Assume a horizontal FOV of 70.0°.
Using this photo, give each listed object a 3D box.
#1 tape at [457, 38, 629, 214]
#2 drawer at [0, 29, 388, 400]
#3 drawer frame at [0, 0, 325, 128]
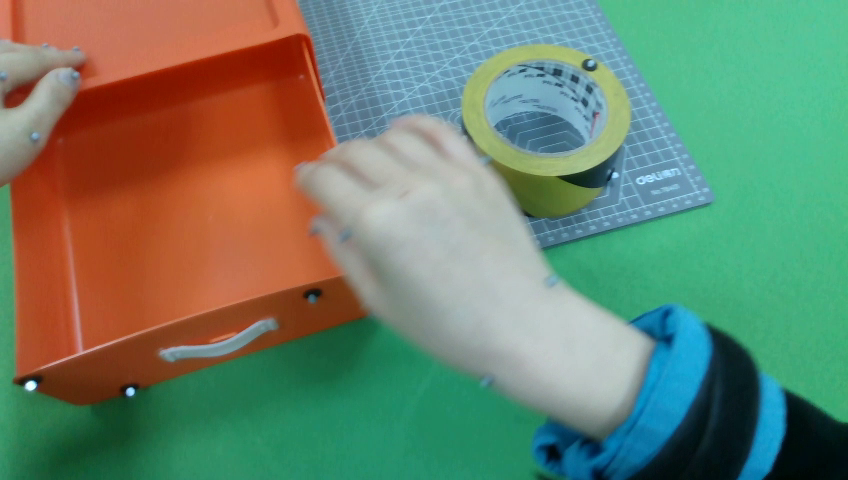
[{"bbox_3d":[0.080,-0.078,0.416,0.117,0.053,0.116,0,63,1],"label":"tape"},{"bbox_3d":[-0.145,-0.031,0.381,0.195,0.074,0.210,-17,65,-7],"label":"drawer"},{"bbox_3d":[-0.200,-0.175,0.452,0.202,0.083,0.211,-18,63,-8],"label":"drawer frame"}]
